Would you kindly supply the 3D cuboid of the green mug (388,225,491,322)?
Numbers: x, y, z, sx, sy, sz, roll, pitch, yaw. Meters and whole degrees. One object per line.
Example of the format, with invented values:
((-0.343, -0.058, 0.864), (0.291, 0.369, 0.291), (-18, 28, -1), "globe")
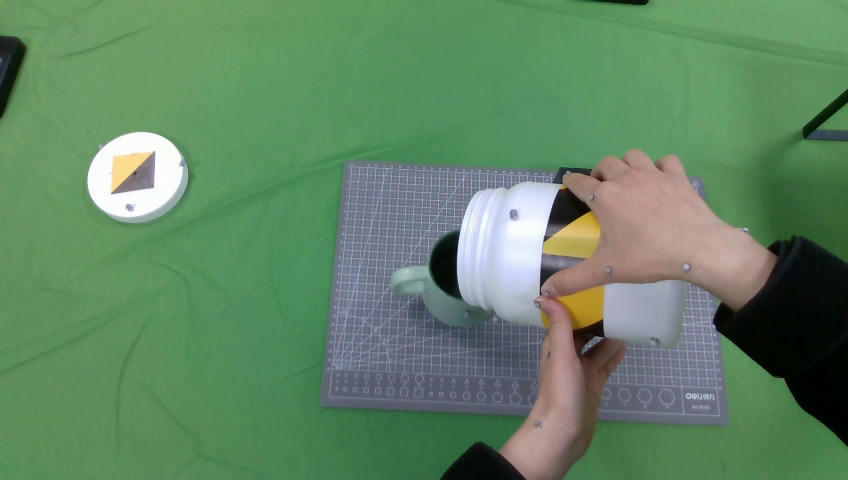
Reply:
((0.023, 0.038, 0.657), (0.125, 0.105, 0.092), (-4, 72, -3), "green mug")

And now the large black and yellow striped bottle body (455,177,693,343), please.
((0.131, 0.013, 0.532), (0.183, 0.132, 0.130), (7, 70, 22), "large black and yellow striped bottle body")

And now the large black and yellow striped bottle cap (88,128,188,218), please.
((-0.347, -0.083, 0.736), (0.115, 0.019, 0.114), (1, 71, -1), "large black and yellow striped bottle cap")
